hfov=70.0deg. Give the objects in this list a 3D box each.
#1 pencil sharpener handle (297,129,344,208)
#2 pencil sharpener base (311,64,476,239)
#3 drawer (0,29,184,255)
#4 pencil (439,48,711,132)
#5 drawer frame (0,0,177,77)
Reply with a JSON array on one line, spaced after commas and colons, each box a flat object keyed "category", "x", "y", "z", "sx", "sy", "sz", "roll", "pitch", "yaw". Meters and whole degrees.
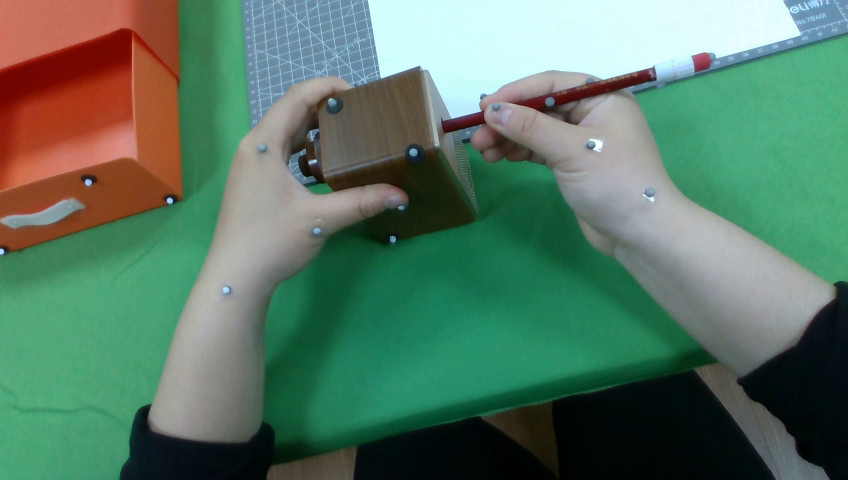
[{"category": "pencil sharpener handle", "x": -0.069, "y": -0.041, "z": 0.390, "sx": 0.030, "sy": 0.068, "sz": 0.035, "roll": -14, "pitch": 62, "yaw": 13}, {"category": "pencil sharpener base", "x": -0.017, "y": -0.050, "z": 0.391, "sx": 0.076, "sy": 0.108, "sz": 0.061, "roll": -14, "pitch": 67, "yaw": 13}, {"category": "drawer", "x": -0.306, "y": -0.108, "z": 0.500, "sx": 0.194, "sy": 0.074, "sz": 0.210, "roll": -16, "pitch": 66, "yaw": 8}, {"category": "pencil", "x": 0.061, "y": -0.079, "z": 0.346, "sx": 0.194, "sy": 0.012, "sz": 0.012, "roll": -12, "pitch": 66, "yaw": 13}, {"category": "drawer frame", "x": -0.331, "y": -0.214, "z": 0.545, "sx": 0.201, "sy": 0.083, "sz": 0.211, "roll": -16, "pitch": 65, "yaw": 7}]
